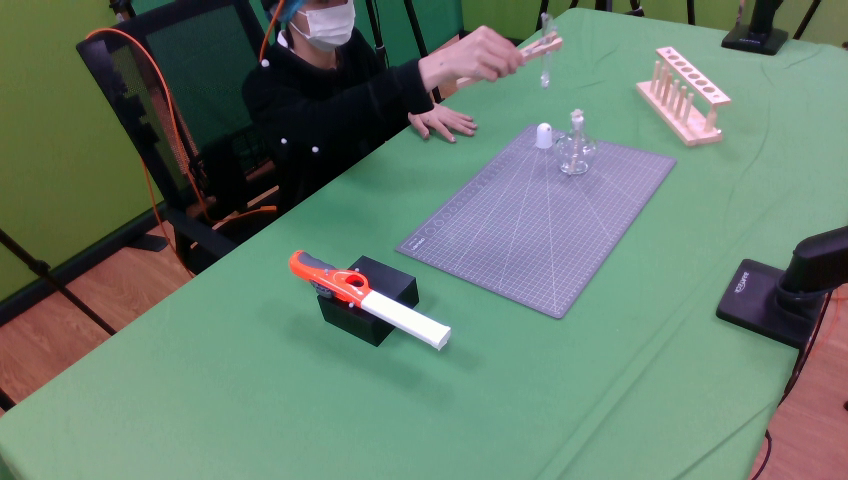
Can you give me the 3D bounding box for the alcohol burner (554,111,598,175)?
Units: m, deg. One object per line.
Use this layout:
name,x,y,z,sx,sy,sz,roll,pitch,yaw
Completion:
alcohol burner,0.270,-0.175,1.066,0.078,0.119,0.077,-4,42,4

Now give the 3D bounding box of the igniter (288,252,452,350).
igniter,-0.084,0.077,0.821,0.274,0.025,0.057,23,48,27

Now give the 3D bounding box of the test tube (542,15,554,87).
test tube,0.197,-0.297,0.966,0.017,0.151,0.017,-4,62,8

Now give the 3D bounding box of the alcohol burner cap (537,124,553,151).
alcohol burner cap,0.232,-0.199,1.158,0.034,0.048,0.033,-5,40,4

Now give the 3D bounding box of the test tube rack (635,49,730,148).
test tube rack,0.497,-0.283,1.185,0.067,0.085,0.240,-10,40,-2

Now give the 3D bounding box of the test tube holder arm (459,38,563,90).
test tube holder arm,0.136,-0.274,0.937,0.179,0.015,0.013,-26,58,-8

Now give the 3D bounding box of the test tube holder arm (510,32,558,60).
test tube holder arm,0.172,-0.299,0.947,0.088,0.015,0.010,-33,60,-12
